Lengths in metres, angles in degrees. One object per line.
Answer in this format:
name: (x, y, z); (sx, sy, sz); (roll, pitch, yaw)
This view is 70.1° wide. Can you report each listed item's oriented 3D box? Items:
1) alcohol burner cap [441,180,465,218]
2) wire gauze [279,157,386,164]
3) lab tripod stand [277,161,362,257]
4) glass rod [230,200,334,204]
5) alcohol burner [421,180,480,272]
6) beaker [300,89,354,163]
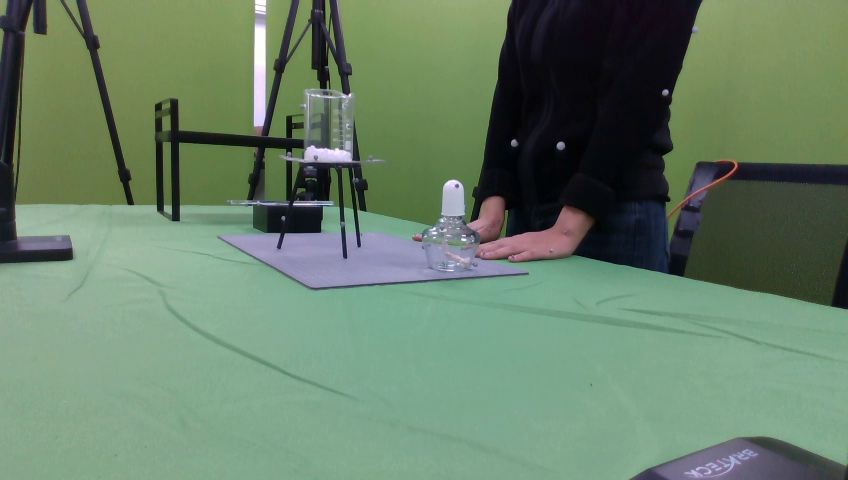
alcohol burner cap: (0.038, -0.054, 0.781); (0.034, 0.048, 0.034); (0, 13, 0)
wire gauze: (-0.134, -0.113, 0.875); (0.122, 0.011, 0.124); (-1, 6, -30)
lab tripod stand: (-0.143, -0.049, 0.884); (0.148, 0.131, 0.148); (1, 9, 0)
glass rod: (-0.265, -0.071, 1.144); (0.201, 0.008, 0.008); (-1, 8, -31)
alcohol burner: (0.035, -0.018, 0.785); (0.078, 0.119, 0.078); (4, 6, 0)
beaker: (-0.137, -0.161, 0.869); (0.083, 0.100, 0.074); (9, 10, 42)
